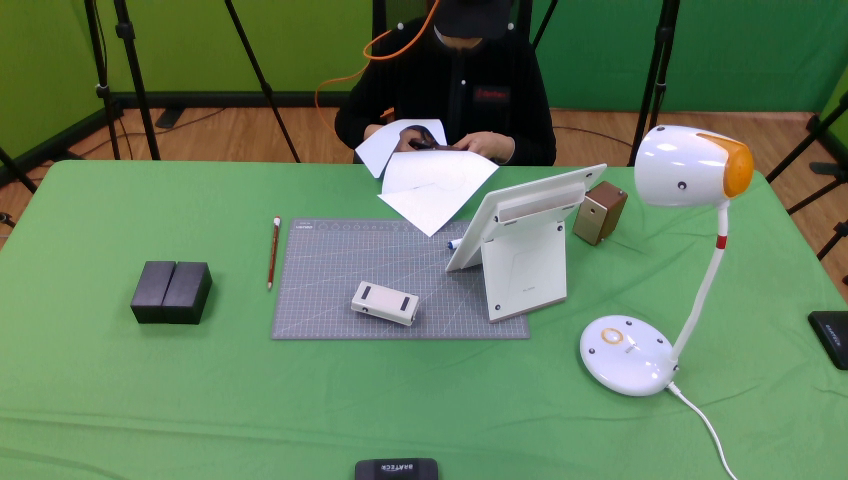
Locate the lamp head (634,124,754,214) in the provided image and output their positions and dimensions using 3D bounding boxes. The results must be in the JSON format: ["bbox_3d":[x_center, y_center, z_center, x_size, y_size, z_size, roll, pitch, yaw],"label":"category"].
[{"bbox_3d":[0.351,-0.089,0.775,0.112,0.113,0.122,-30,30,-28],"label":"lamp head"}]

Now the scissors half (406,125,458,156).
[{"bbox_3d":[0.017,-0.220,1.361,0.013,0.040,0.174,-27,44,-31],"label":"scissors half"}]

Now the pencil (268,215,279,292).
[{"bbox_3d":[-0.290,0.023,1.164,0.012,0.012,0.192,-2,48,-6],"label":"pencil"}]

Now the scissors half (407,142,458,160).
[{"bbox_3d":[0.019,-0.201,1.370,0.013,0.040,0.174,-22,20,-34],"label":"scissors half"}]

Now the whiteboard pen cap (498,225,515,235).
[{"bbox_3d":[0.166,-0.019,1.222,0.033,0.018,0.018,-14,49,-19],"label":"whiteboard pen cap"}]

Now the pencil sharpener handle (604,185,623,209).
[{"bbox_3d":[0.390,-0.091,1.235,0.030,0.068,0.036,-34,69,-31],"label":"pencil sharpener handle"}]

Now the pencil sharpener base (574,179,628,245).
[{"bbox_3d":[0.355,-0.057,1.217,0.076,0.107,0.061,-33,56,-31],"label":"pencil sharpener base"}]

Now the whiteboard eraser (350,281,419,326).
[{"bbox_3d":[-0.069,0.113,1.065,0.112,0.042,0.055,14,46,9],"label":"whiteboard eraser"}]

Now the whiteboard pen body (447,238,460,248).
[{"bbox_3d":[0.112,-0.006,1.204,0.141,0.017,0.017,-14,49,-18],"label":"whiteboard pen body"}]

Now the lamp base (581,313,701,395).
[{"bbox_3d":[0.361,0.144,0.972,0.178,0.181,0.160,34,53,23],"label":"lamp base"}]

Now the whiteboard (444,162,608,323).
[{"bbox_3d":[0.186,0.025,1.029,0.217,0.306,0.143,-14,68,-18],"label":"whiteboard"}]
